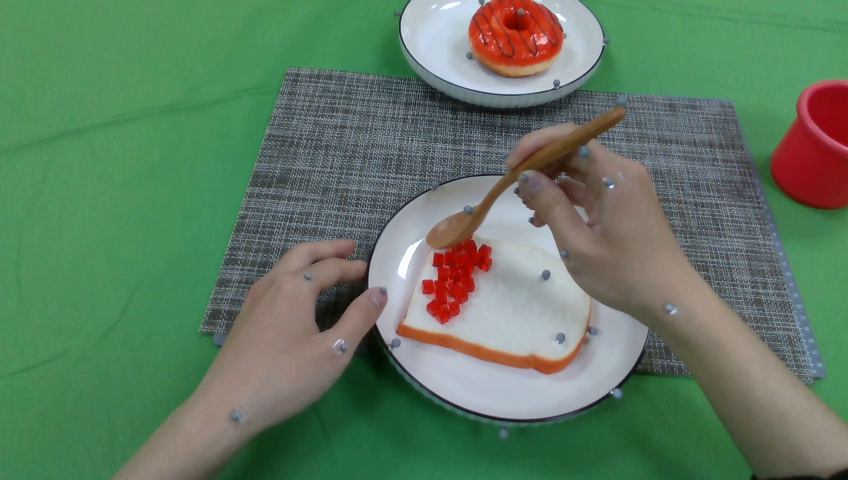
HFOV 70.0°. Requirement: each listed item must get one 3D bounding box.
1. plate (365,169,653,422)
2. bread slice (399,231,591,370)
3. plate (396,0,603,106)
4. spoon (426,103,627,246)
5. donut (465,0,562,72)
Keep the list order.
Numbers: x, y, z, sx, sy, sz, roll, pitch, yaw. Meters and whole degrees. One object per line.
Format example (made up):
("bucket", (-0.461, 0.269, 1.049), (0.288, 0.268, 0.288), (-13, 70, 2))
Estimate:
("plate", (0.061, 0.036, 0.452), (0.209, 0.038, 0.207), (1, 55, -1))
("bread slice", (0.058, 0.040, 0.452), (0.131, 0.019, 0.104), (14, 56, 10))
("plate", (0.075, -0.204, 0.621), (0.208, 0.039, 0.205), (2, 53, -2))
("spoon", (0.056, -0.037, 0.395), (0.022, 0.194, 0.041), (41, 55, -7))
("donut", (0.090, -0.209, 0.611), (0.099, 0.048, 0.098), (2, 56, -2))
